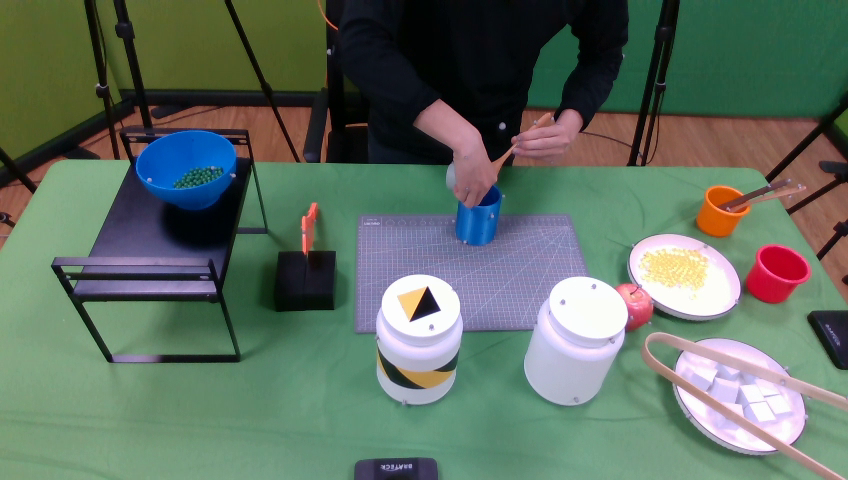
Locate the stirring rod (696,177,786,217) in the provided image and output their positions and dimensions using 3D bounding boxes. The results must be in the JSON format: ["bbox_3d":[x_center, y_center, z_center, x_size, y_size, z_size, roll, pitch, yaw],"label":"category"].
[{"bbox_3d":[0.648,-0.087,1.244,0.176,0.006,0.014,-25,50,29],"label":"stirring rod"}]

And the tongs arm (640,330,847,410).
[{"bbox_3d":[0.543,0.225,0.969,0.384,0.026,0.050,22,52,13],"label":"tongs arm"}]

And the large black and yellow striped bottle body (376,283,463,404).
[{"bbox_3d":[-0.010,0.155,0.937,0.131,0.185,0.130,2,47,-2],"label":"large black and yellow striped bottle body"}]

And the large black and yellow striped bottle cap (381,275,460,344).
[{"bbox_3d":[-0.005,0.098,0.874,0.115,0.019,0.114,2,45,-2],"label":"large black and yellow striped bottle cap"}]

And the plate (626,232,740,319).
[{"bbox_3d":[0.489,0.070,1.157,0.209,0.038,0.208,3,46,-3],"label":"plate"}]

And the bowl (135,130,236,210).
[{"bbox_3d":[-0.375,-0.102,0.977,0.151,0.077,0.150,2,46,-2],"label":"bowl"}]

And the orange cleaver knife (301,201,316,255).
[{"bbox_3d":[-0.221,-0.027,1.160,0.012,0.077,0.210,-1,15,-4],"label":"orange cleaver knife"}]

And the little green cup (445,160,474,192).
[{"bbox_3d":[0.067,-0.121,1.140,0.038,0.062,0.061,6,44,24],"label":"little green cup"}]

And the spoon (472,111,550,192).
[{"bbox_3d":[0.161,-0.163,1.108,0.041,0.022,0.193,43,89,12],"label":"spoon"}]

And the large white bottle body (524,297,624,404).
[{"bbox_3d":[0.235,0.159,0.952,0.131,0.185,0.130,2,47,-2],"label":"large white bottle body"}]

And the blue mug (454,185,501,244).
[{"bbox_3d":[0.106,-0.067,1.208,0.082,0.106,0.116,6,46,1],"label":"blue mug"}]

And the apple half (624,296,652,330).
[{"bbox_3d":[0.368,0.135,1.060,0.081,0.081,0.032,-11,43,-15],"label":"apple half"}]

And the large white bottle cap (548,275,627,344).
[{"bbox_3d":[0.240,0.100,0.890,0.115,0.018,0.114,3,47,-3],"label":"large white bottle cap"}]

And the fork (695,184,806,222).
[{"bbox_3d":[0.658,-0.074,1.230,0.207,0.019,0.028,-24,33,36],"label":"fork"}]

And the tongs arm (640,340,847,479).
[{"bbox_3d":[0.500,0.277,0.919,0.386,0.028,0.028,34,59,22],"label":"tongs arm"}]

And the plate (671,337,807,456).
[{"bbox_3d":[0.504,0.254,0.984,0.208,0.039,0.206,2,46,-2],"label":"plate"}]

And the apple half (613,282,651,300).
[{"bbox_3d":[0.356,0.109,1.086,0.081,0.075,0.053,-13,44,-12],"label":"apple half"}]
